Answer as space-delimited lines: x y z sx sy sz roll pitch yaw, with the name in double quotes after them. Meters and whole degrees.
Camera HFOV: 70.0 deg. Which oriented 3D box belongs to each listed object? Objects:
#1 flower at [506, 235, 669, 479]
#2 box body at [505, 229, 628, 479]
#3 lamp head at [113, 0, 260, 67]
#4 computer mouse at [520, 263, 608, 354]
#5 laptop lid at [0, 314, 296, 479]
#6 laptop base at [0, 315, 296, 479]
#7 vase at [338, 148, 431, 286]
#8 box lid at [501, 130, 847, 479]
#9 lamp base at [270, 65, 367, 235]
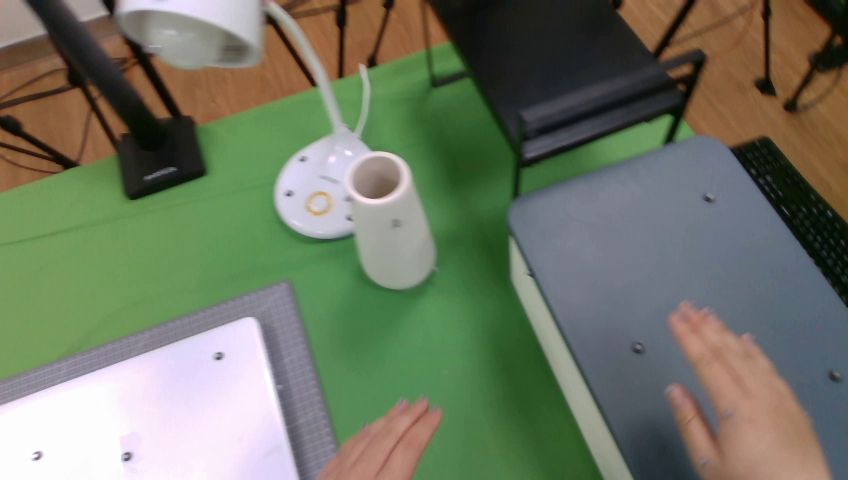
0.195 0.148 0.676 0.044 0.038 0.359 -7 61 -50 "flower"
0.263 0.097 0.649 0.254 0.162 0.360 -20 62 -5 "box body"
-0.186 -0.218 0.505 0.112 0.113 0.122 7 80 9 "lamp head"
0.167 0.078 0.730 0.063 0.041 0.116 -26 55 -4 "computer mouse"
-0.340 0.246 0.688 0.357 0.013 0.239 -19 64 -5 "laptop lid"
-0.340 0.249 0.700 0.354 0.023 0.233 -20 65 -6 "laptop base"
-0.048 -0.023 0.719 0.098 0.202 0.097 -3 61 6 "vase"
0.256 0.059 0.585 0.263 0.015 0.367 -19 62 -6 "box lid"
-0.142 -0.125 0.793 0.160 0.182 0.178 10 60 10 "lamp base"
